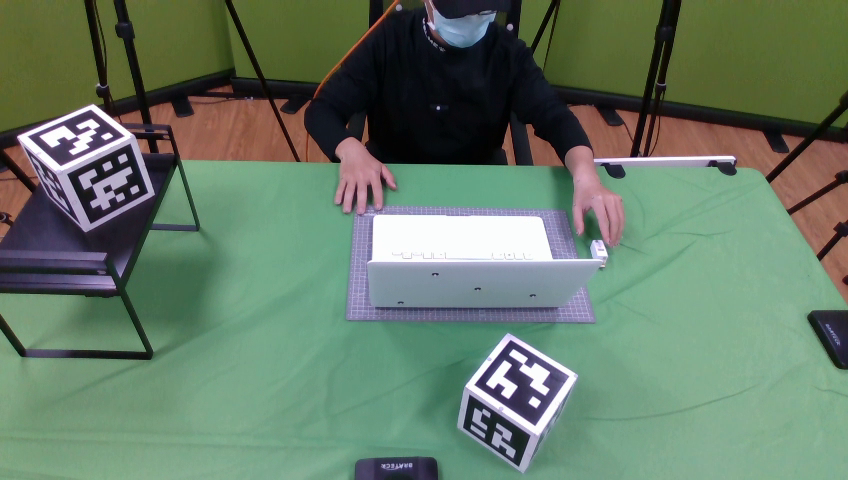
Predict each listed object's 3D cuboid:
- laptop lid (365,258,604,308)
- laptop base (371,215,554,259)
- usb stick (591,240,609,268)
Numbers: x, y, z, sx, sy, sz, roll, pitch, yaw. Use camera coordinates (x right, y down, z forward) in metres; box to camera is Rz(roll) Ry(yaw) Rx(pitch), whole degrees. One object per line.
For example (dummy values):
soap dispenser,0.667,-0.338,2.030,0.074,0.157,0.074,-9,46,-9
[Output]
laptop lid,0.085,0.074,0.978,0.357,0.242,0.013,1,67,-5
laptop base,0.075,0.037,1.167,0.355,0.023,0.234,0,43,-4
usb stick,0.347,0.028,1.188,0.021,0.027,0.059,4,48,-5
